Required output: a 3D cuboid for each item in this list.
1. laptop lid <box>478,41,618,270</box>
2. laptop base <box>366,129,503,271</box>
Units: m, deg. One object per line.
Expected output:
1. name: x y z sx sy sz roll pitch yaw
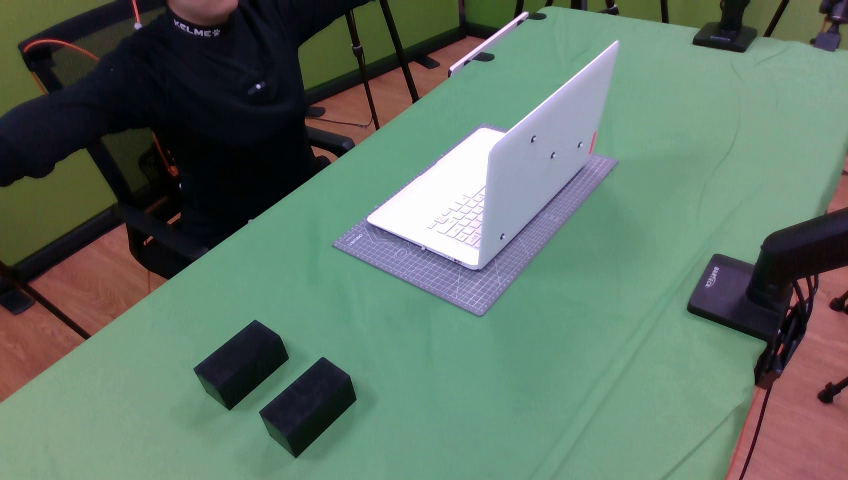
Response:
1. laptop lid: 0.191 -0.130 0.912 0.013 0.242 0.358 29 50 26
2. laptop base: 0.099 -0.085 1.058 0.233 0.023 0.355 21 48 34
